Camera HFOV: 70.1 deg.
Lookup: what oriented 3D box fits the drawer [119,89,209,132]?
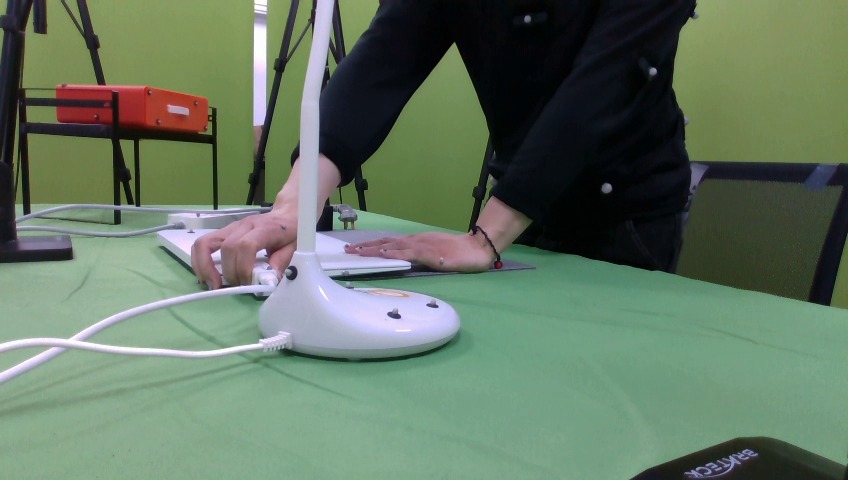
[{"bbox_3d":[-0.595,-0.267,1.263,0.211,0.073,0.195,3,8,15],"label":"drawer"}]

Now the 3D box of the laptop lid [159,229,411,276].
[{"bbox_3d":[-0.201,0.008,0.806,0.243,0.013,0.355,-1,8,-31],"label":"laptop lid"}]

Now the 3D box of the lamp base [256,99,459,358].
[{"bbox_3d":[-0.055,-0.013,0.463,0.160,0.180,0.180,6,11,27],"label":"lamp base"}]

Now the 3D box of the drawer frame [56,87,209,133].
[{"bbox_3d":[-0.598,-0.269,1.261,0.213,0.082,0.202,4,8,14],"label":"drawer frame"}]

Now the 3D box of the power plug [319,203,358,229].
[{"bbox_3d":[-0.169,-0.046,1.209,0.073,0.052,0.035,-5,-14,-4],"label":"power plug"}]

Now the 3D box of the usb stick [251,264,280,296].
[{"bbox_3d":[-0.156,0.039,0.603,0.021,0.027,0.059,-8,2,-7],"label":"usb stick"}]

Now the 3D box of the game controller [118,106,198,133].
[{"bbox_3d":[-0.555,-0.252,1.255,0.097,0.051,0.155,8,11,18],"label":"game controller"}]

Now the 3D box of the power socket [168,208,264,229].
[{"bbox_3d":[-0.381,-0.038,1.128,0.072,0.032,0.227,4,8,16],"label":"power socket"}]

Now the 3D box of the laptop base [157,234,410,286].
[{"bbox_3d":[-0.204,0.020,0.806,0.237,0.023,0.352,0,7,-33],"label":"laptop base"}]
